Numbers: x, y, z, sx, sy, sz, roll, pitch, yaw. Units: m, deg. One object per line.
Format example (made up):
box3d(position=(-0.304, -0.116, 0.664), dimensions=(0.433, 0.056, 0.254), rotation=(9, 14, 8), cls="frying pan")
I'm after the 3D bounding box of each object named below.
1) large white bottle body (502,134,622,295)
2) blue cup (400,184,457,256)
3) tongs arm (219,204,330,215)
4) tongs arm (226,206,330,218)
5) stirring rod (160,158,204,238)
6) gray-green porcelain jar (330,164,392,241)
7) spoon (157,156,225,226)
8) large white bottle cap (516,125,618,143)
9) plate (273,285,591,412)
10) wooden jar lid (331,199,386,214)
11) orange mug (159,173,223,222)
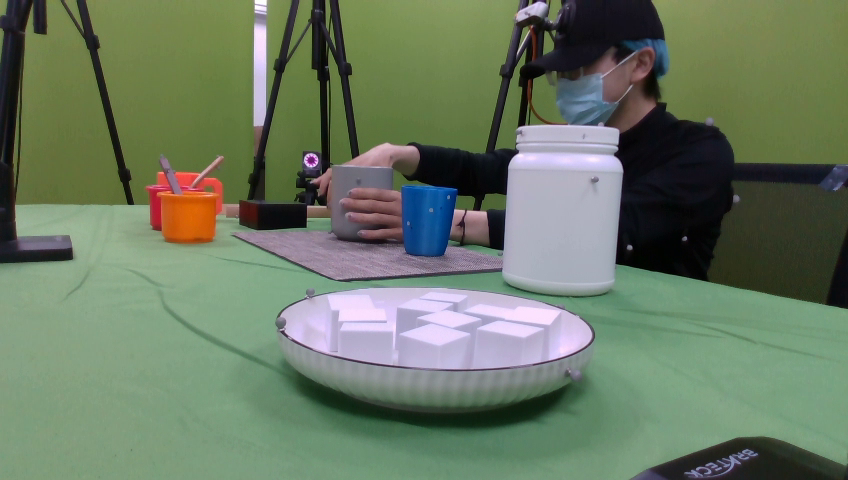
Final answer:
box3d(position=(0.161, -0.037, 0.706), dimensions=(0.131, 0.184, 0.130), rotation=(2, 7, 0), cls="large white bottle body")
box3d(position=(0.003, -0.030, 0.901), dimensions=(0.093, 0.100, 0.092), rotation=(4, 8, 0), cls="blue cup")
box3d(position=(-0.288, -0.069, 1.435), dimensions=(0.389, 0.027, 0.028), rotation=(0, -1, -18), cls="tongs arm")
box3d(position=(-0.252, -0.062, 1.360), dimensions=(0.387, 0.026, 0.050), rotation=(-1, 3, -31), cls="tongs arm")
box3d(position=(-0.390, -0.070, 0.972), dimensions=(0.014, 0.006, 0.175), rotation=(-1, 49, -50), cls="stirring rod")
box3d(position=(-0.109, -0.065, 1.042), dimensions=(0.106, 0.126, 0.106), rotation=(2, 8, 0), cls="gray-green porcelain jar")
box3d(position=(-0.425, -0.094, 1.118), dimensions=(0.041, 0.022, 0.194), rotation=(4, 51, 30), cls="spoon")
box3d(position=(0.164, -0.120, 0.695), dimensions=(0.115, 0.018, 0.115), rotation=(2, 7, 0), cls="large white bottle cap")
box3d(position=(0.005, 0.069, 0.408), dimensions=(0.208, 0.039, 0.207), rotation=(2, 7, 0), cls="plate")
box3d(position=(-0.130, -0.066, 1.201), dimensions=(0.108, 0.020, 0.108), rotation=(3, 8, 0), cls="wooden jar lid")
box3d(position=(-0.477, -0.089, 1.241), dimensions=(0.127, 0.101, 0.083), rotation=(-8, 12, -33), cls="orange mug")
